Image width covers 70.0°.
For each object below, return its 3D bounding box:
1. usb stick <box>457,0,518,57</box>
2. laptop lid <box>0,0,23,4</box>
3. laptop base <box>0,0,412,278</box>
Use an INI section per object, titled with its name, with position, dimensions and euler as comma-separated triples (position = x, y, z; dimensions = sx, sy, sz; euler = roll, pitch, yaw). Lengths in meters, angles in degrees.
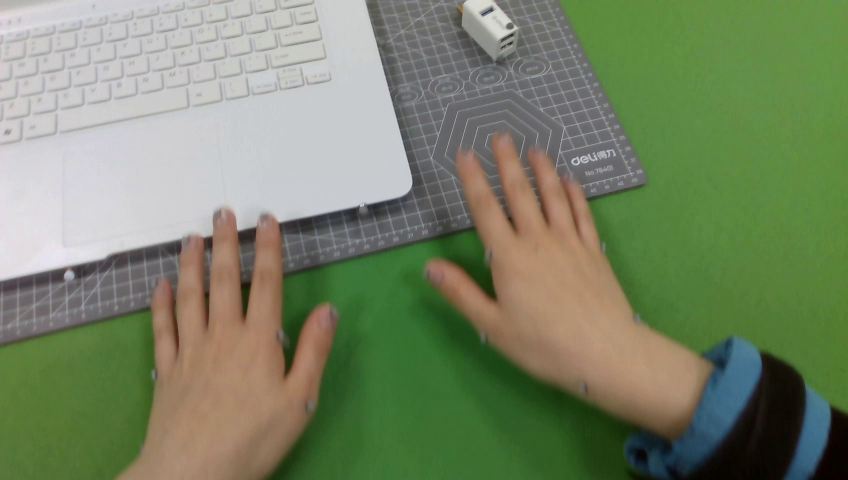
[usb stick]
position = 0.046, -0.171, 0.465
dimensions = 0.021, 0.027, 0.058
euler = -32, 66, -12
[laptop lid]
position = -0.242, -0.290, 0.411
dimensions = 0.357, 0.244, 0.013
euler = -13, 40, -4
[laptop base]
position = -0.203, -0.097, 0.439
dimensions = 0.355, 0.023, 0.233
euler = -12, 69, -5
